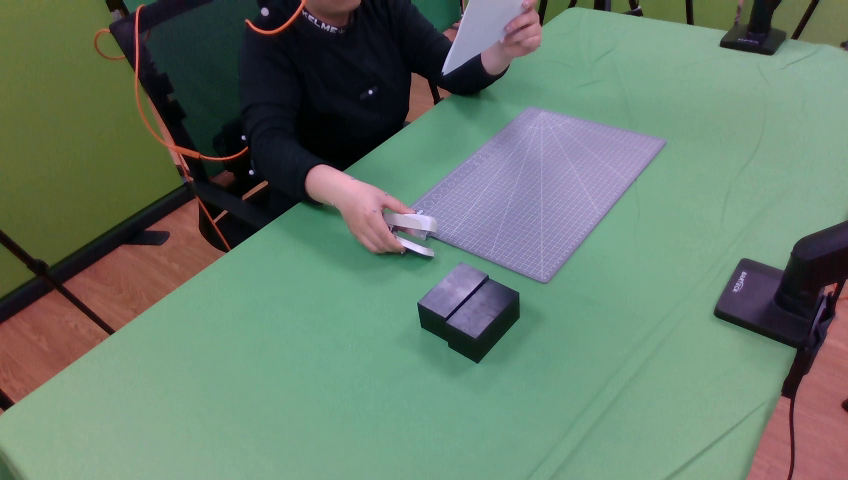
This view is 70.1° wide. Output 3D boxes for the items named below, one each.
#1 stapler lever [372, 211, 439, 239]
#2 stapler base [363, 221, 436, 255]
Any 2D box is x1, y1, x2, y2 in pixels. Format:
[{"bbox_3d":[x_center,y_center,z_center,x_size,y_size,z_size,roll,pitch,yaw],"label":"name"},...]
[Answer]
[{"bbox_3d":[-0.029,-0.033,0.975,0.117,0.027,0.040,18,87,31],"label":"stapler lever"},{"bbox_3d":[-0.036,-0.008,0.975,0.129,0.041,0.024,19,88,31],"label":"stapler base"}]
